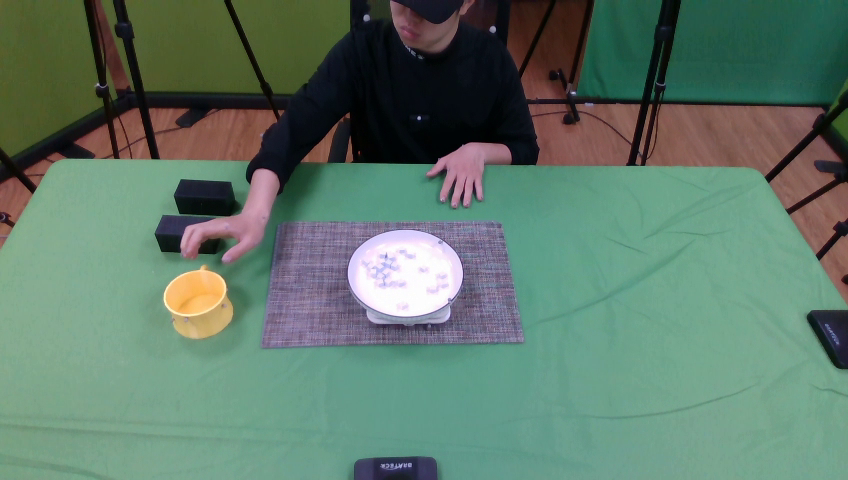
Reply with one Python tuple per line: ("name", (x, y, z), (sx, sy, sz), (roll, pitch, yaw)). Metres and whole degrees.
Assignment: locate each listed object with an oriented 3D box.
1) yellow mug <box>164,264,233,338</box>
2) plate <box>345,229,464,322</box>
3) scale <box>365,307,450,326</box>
("yellow mug", (-0.384, 0.097, 1.044), (0.100, 0.064, 0.130), (-1, 45, -5))
("plate", (-0.034, 0.065, 1.073), (0.209, 0.038, 0.208), (2, 46, -2))
("scale", (-0.032, 0.071, 1.113), (0.149, 0.032, 0.199), (1, 46, -4))
